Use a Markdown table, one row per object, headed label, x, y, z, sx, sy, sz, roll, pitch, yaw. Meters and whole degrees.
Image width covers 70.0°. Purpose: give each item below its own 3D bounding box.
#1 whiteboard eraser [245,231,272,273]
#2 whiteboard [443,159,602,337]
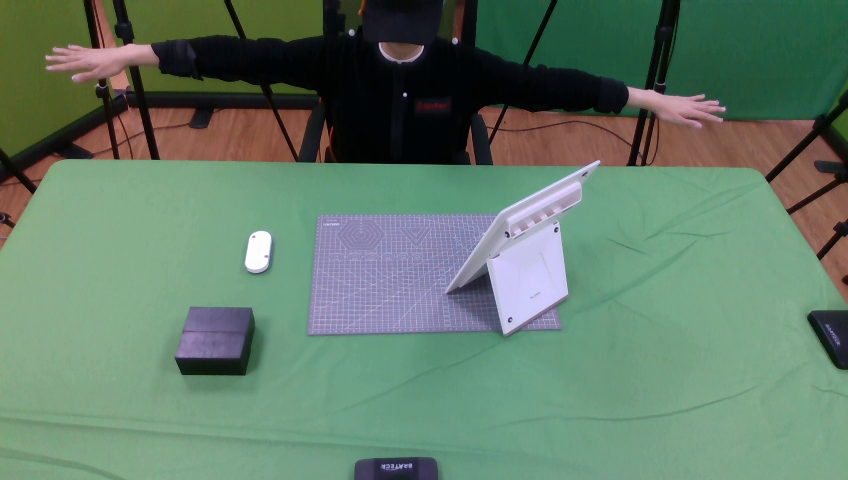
| label | x | y | z | sx | sy | sz | roll | pitch | yaw |
| --- | --- | --- | --- | --- | --- | --- | --- | --- | --- |
| whiteboard eraser | -0.315 | 0.023 | 1.156 | 0.041 | 0.019 | 0.100 | -1 | 45 | -4 |
| whiteboard | 0.193 | 0.036 | 1.018 | 0.217 | 0.306 | 0.143 | -26 | 72 | -26 |
